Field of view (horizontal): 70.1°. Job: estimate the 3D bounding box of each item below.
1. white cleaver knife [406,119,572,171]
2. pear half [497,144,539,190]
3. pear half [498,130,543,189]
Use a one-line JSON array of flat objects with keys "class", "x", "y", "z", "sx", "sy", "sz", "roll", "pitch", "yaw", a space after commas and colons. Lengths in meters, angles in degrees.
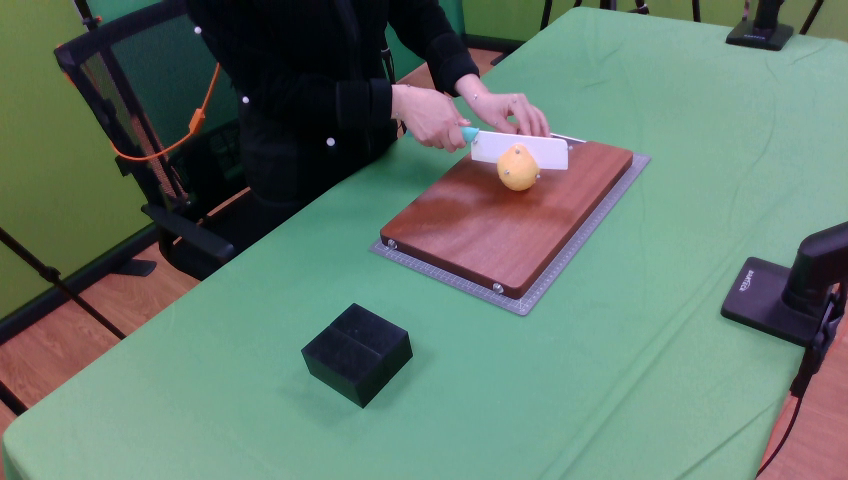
[{"class": "white cleaver knife", "x": 0.102, "y": -0.156, "z": 1.001, "sx": 0.285, "sy": 0.066, "sz": 0.021, "roll": 12, "pitch": 41, "yaw": 19}, {"class": "pear half", "x": 0.153, "y": -0.115, "z": 0.996, "sx": 0.070, "sy": 0.088, "sz": 0.031, "roll": 7, "pitch": 48, "yaw": 14}, {"class": "pear half", "x": 0.164, "y": -0.145, "z": 1.016, "sx": 0.076, "sy": 0.110, "sz": 0.056, "roll": 9, "pitch": 46, "yaw": 15}]
